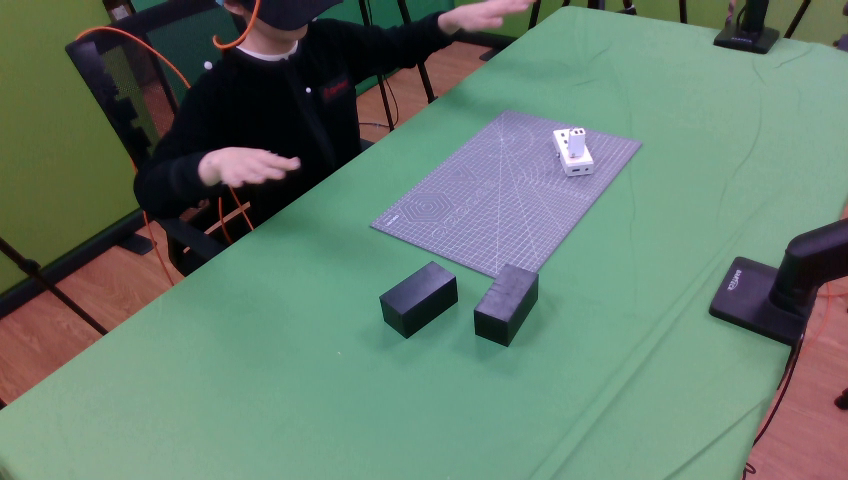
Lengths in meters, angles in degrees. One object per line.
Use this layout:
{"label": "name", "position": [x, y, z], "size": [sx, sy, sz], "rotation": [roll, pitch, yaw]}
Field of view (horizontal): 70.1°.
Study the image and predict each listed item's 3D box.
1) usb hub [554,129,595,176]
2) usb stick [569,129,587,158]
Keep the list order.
{"label": "usb hub", "position": [0.278, -0.163, 1.119], "size": [0.049, 0.025, 0.124], "rotation": [-6, 41, 2]}
{"label": "usb stick", "position": [0.273, -0.166, 1.075], "size": [0.027, 0.059, 0.021], "rotation": [-5, 40, -2]}
